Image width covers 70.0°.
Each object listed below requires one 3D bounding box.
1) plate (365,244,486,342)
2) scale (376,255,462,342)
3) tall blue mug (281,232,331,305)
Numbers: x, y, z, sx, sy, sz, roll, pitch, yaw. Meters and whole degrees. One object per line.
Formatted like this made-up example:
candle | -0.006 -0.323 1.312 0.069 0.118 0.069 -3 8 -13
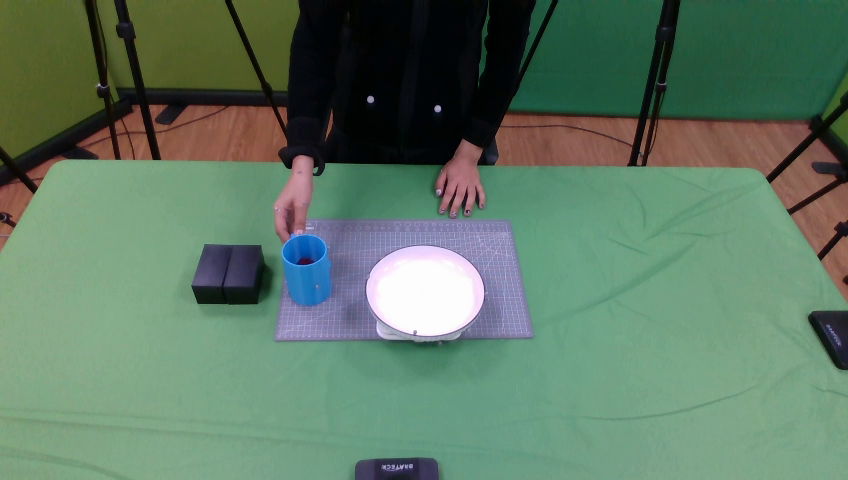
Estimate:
plate | 0.001 0.093 1.051 0.209 0.038 0.208 1 46 -1
scale | -0.010 0.096 1.094 0.149 0.032 0.199 2 46 -3
tall blue mug | -0.219 0.046 1.074 0.107 0.108 0.077 29 52 22
